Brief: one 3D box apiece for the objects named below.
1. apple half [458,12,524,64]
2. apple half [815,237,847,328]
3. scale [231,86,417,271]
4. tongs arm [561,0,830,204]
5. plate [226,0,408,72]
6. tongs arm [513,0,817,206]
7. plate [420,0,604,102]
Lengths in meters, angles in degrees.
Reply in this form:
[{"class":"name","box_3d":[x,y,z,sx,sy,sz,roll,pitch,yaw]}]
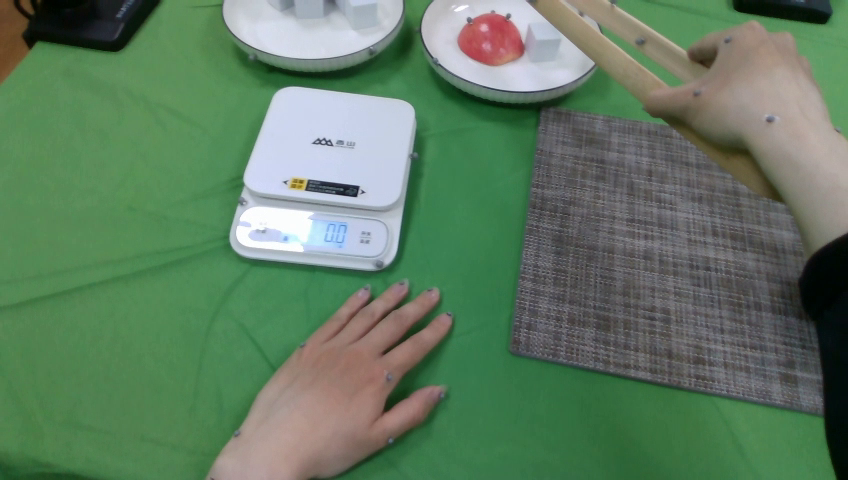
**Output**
[{"class":"apple half","box_3d":[0.081,-0.239,0.698,0.081,0.033,0.080,0,52,0]},{"class":"apple half","box_3d":[0.356,0.041,0.494,0.053,0.075,0.080,-23,62,-13]},{"class":"scale","box_3d":[-0.089,-0.065,0.577,0.148,0.032,0.199,6,55,2]},{"class":"tongs arm","box_3d":[0.190,-0.163,0.530,0.051,0.027,0.380,-19,50,-23]},{"class":"plate","box_3d":[-0.122,-0.263,0.712,0.208,0.039,0.205,1,55,-2]},{"class":"tongs arm","box_3d":[0.163,-0.155,0.520,0.028,0.028,0.383,-14,49,-23]},{"class":"plate","box_3d":[0.100,-0.227,0.697,0.209,0.038,0.207,2,54,-2]}]
